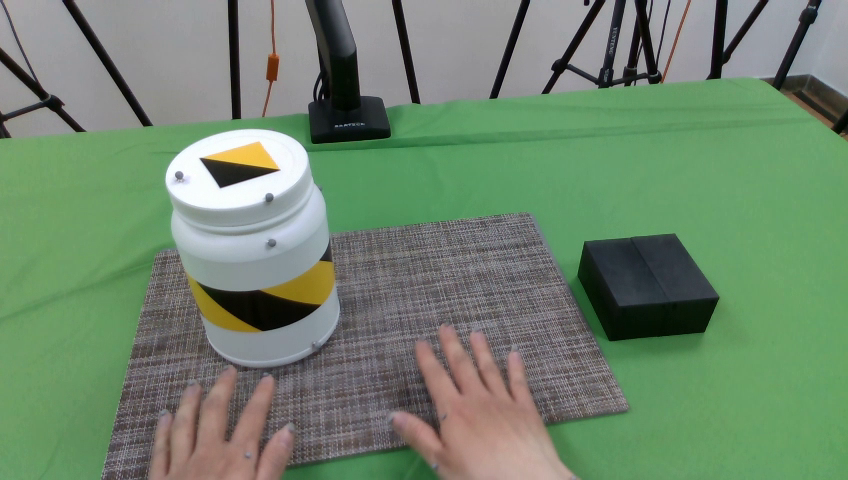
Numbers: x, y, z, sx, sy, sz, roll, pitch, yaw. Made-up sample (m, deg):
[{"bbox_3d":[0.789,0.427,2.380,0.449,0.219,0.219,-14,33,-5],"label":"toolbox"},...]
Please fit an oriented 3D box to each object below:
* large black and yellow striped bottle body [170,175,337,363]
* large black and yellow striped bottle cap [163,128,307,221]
[{"bbox_3d":[-0.154,0.009,0.560,0.131,0.185,0.129,0,40,0],"label":"large black and yellow striped bottle body"},{"bbox_3d":[-0.156,-0.058,0.504,0.115,0.019,0.114,1,42,0],"label":"large black and yellow striped bottle cap"}]
